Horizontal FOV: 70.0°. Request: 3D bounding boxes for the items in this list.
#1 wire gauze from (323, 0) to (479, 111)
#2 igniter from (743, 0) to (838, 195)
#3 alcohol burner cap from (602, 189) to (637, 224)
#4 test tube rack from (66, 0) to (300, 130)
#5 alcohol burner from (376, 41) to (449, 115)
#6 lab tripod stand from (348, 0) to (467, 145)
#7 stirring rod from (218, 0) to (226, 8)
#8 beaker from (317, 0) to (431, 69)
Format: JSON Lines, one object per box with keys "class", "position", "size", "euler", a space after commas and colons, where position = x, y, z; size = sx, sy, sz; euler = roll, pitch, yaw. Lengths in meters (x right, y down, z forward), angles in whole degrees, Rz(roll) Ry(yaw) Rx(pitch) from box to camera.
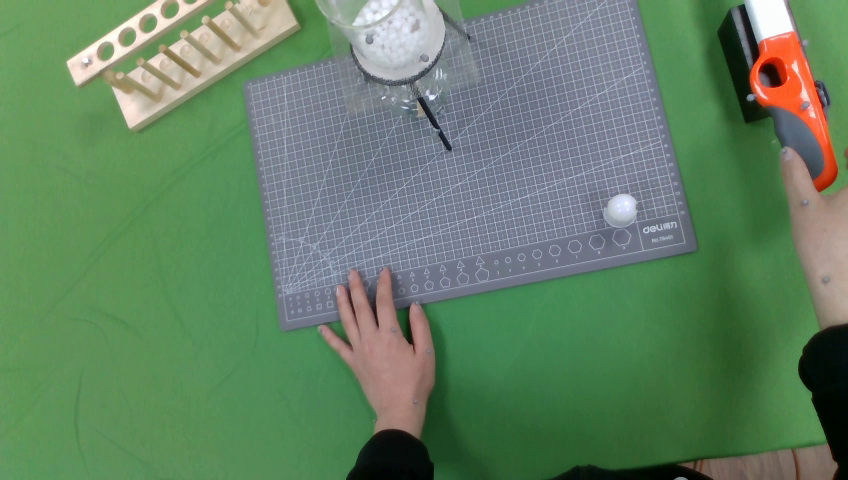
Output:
{"class": "wire gauze", "position": [-0.024, -0.186, 0.545], "size": [0.125, 0.011, 0.121], "euler": [-12, 86, 8]}
{"class": "igniter", "position": [0.318, -0.176, 0.548], "size": [0.057, 0.025, 0.275], "euler": [-13, 80, 13]}
{"class": "alcohol burner cap", "position": [0.194, -0.035, 0.599], "size": [0.034, 0.048, 0.034], "euler": [-1, 83, 12]}
{"class": "test tube rack", "position": [-0.274, -0.226, 0.696], "size": [0.242, 0.085, 0.066], "euler": [-29, 79, 8]}
{"class": "alcohol burner", "position": [-0.015, -0.172, 0.619], "size": [0.078, 0.119, 0.077], "euler": [-1, 83, 10]}
{"class": "lab tripod stand", "position": [-0.010, -0.178, 0.608], "size": [0.148, 0.132, 0.148], "euler": [-1, 85, 10]}
{"class": "stirring rod", "position": [-0.245, -0.294, 0.617], "size": [0.006, 0.177, 0.014], "euler": [-28, 73, 2]}
{"class": "beaker", "position": [-0.039, -0.190, 0.499], "size": [0.084, 0.100, 0.074], "euler": [1, 85, 12]}
